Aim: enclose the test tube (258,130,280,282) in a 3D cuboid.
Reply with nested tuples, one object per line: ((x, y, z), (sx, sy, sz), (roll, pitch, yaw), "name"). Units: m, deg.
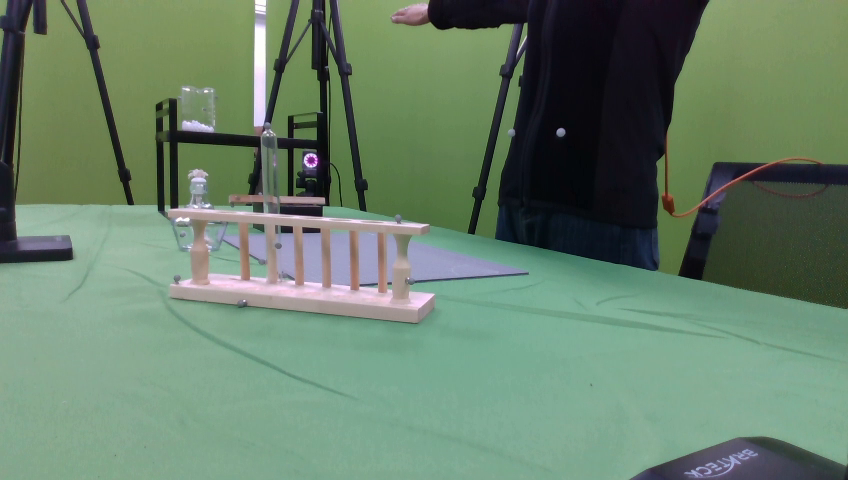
((-0.152, -0.032, 0.596), (0.017, 0.150, 0.017), (0, 9, 0), "test tube")

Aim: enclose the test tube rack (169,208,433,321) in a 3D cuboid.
((-0.115, 0.018, 0.574), (0.242, 0.085, 0.067), (4, 8, 13), "test tube rack")

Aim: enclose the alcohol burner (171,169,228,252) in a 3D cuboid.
((-0.325, -0.043, 0.875), (0.078, 0.119, 0.078), (1, 7, 0), "alcohol burner")

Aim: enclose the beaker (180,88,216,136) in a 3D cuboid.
((-0.498, -0.283, 1.339), (0.074, 0.100, 0.083), (-2, 9, -28), "beaker")

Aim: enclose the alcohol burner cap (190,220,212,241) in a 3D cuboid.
((-0.365, -0.023, 0.988), (0.034, 0.048, 0.034), (1, 7, 0), "alcohol burner cap")

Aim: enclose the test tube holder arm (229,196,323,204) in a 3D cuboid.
((-0.275, -0.075, 1.144), (0.179, 0.015, 0.013), (-1, 1, -32), "test tube holder arm")

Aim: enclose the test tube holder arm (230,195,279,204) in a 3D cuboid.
((-0.311, -0.075, 1.115), (0.088, 0.015, 0.010), (-1, 1, -31), "test tube holder arm")
